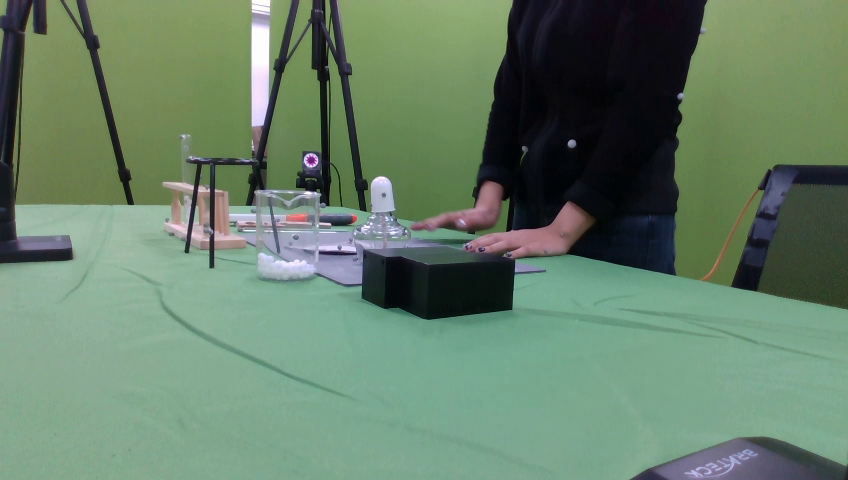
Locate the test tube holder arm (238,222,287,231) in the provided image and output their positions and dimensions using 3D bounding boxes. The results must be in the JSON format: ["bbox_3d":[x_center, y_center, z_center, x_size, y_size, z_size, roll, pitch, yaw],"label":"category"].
[{"bbox_3d":[-0.297,-0.024,1.114,0.088,0.015,0.010,-3,46,-33],"label":"test tube holder arm"}]

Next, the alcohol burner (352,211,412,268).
[{"bbox_3d":[-0.055,-0.024,0.784,0.078,0.119,0.078,2,9,0],"label":"alcohol burner"}]

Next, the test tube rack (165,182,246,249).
[{"bbox_3d":[-0.360,-0.045,0.982,0.067,0.085,0.241,-3,9,-34],"label":"test tube rack"}]

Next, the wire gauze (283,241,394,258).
[{"bbox_3d":[-0.127,0.012,0.894,0.126,0.011,0.121,1,6,-35],"label":"wire gauze"}]

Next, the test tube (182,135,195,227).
[{"bbox_3d":[-0.382,-0.095,0.983,0.017,0.150,0.017,-1,2,0],"label":"test tube"}]

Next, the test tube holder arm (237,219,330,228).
[{"bbox_3d":[-0.261,-0.030,1.142,0.179,0.015,0.013,-4,47,-34],"label":"test tube holder arm"}]

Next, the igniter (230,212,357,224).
[{"bbox_3d":[-0.271,-0.044,1.232,0.278,0.025,0.057,-1,-2,-27],"label":"igniter"}]

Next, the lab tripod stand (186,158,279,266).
[{"bbox_3d":[-0.261,-0.042,0.796,0.148,0.131,0.148,3,9,0],"label":"lab tripod stand"}]

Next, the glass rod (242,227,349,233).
[{"bbox_3d":[-0.232,-0.017,1.110,0.201,0.008,0.008,1,6,-29],"label":"glass rod"}]

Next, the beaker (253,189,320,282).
[{"bbox_3d":[-0.156,-0.005,0.689,0.074,0.100,0.083,0,8,-14],"label":"beaker"}]

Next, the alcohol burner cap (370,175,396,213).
[{"bbox_3d":[-0.055,-0.059,0.778,0.034,0.048,0.034,-7,10,1],"label":"alcohol burner cap"}]
